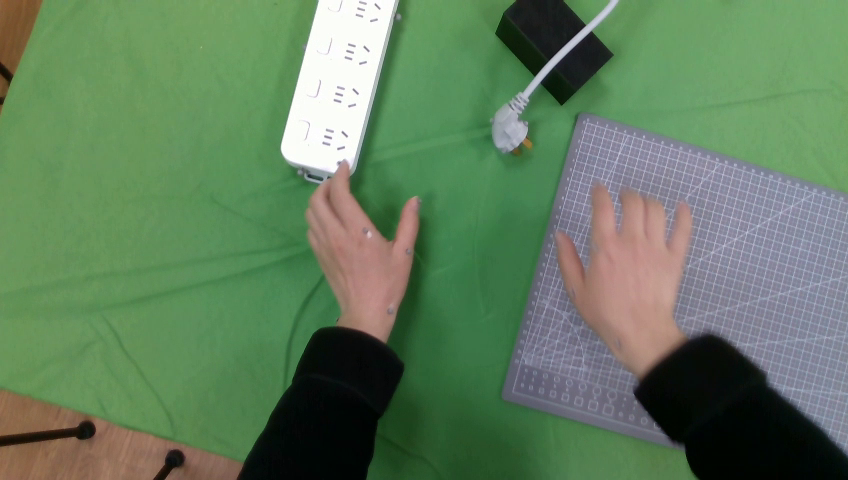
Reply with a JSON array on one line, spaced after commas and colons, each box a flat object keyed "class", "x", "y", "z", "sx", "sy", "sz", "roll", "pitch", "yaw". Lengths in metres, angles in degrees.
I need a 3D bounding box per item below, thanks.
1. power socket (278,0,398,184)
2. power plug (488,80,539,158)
[{"class": "power socket", "x": -0.081, "y": -0.166, "z": 0.586, "sx": 0.072, "sy": 0.032, "sz": 0.226, "roll": 15, "pitch": 87, "yaw": -4}, {"class": "power plug", "x": 0.094, "y": -0.110, "z": 0.585, "sx": 0.072, "sy": 0.035, "sz": 0.053, "roll": -31, "pitch": 132, "yaw": 29}]
